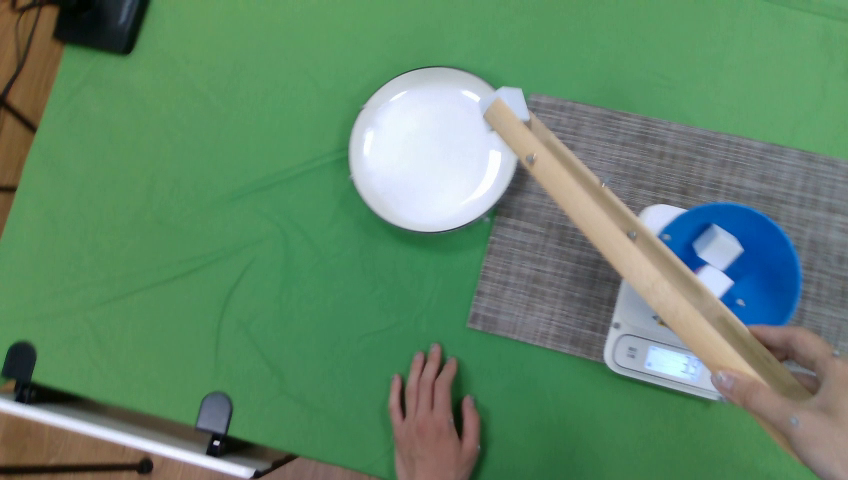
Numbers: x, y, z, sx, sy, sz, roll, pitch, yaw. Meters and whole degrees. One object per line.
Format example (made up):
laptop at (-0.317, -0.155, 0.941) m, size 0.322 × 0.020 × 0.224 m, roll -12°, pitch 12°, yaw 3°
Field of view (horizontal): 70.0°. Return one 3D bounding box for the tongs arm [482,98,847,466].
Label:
tongs arm at (0.173, 0.018, 0.493) m, size 0.384 × 0.028 × 0.028 m, roll 51°, pitch 121°, yaw 20°

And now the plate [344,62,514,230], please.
plate at (0.007, -0.113, 0.743) m, size 0.207 × 0.039 × 0.207 m, roll -1°, pitch 82°, yaw 6°

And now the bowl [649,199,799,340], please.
bowl at (0.297, 0.038, 0.637) m, size 0.151 × 0.077 × 0.151 m, roll -1°, pitch 82°, yaw 5°

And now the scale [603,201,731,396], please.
scale at (0.297, 0.064, 0.687) m, size 0.148 × 0.032 × 0.200 m, roll 15°, pitch 84°, yaw 8°

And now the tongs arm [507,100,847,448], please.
tongs arm at (0.188, 0.015, 0.510) m, size 0.382 × 0.051 × 0.026 m, roll 48°, pitch 124°, yaw 17°
